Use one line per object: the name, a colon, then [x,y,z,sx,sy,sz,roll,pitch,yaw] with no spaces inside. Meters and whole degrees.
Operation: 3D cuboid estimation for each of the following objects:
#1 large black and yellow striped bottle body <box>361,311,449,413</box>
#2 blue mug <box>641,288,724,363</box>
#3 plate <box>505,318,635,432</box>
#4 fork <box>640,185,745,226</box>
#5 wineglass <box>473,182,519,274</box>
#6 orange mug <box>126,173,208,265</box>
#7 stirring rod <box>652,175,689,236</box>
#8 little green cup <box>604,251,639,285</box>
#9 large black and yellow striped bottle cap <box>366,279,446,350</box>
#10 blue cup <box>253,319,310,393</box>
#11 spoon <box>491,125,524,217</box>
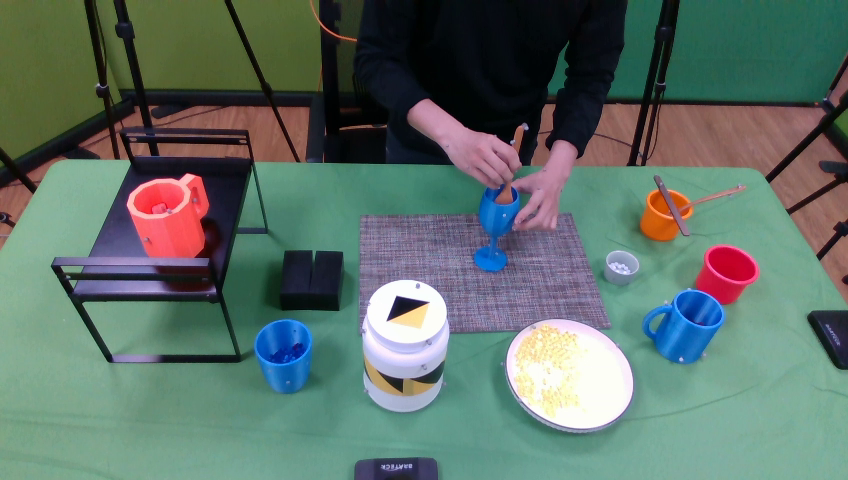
large black and yellow striped bottle body: [-0.031,0.163,0.924,0.131,0.185,0.130,2,46,-2]
blue mug: [0.432,0.144,1.033,0.116,0.106,0.082,8,46,5]
plate: [0.235,0.221,0.991,0.209,0.038,0.208,2,45,-2]
fork: [0.534,-0.069,1.215,0.207,0.019,0.028,-26,27,33]
wineglass: [0.131,-0.022,1.117,0.074,0.173,0.073,2,46,-2]
orange mug: [-0.371,-0.039,0.902,0.083,0.101,0.126,18,52,13]
stirring rod: [0.491,-0.072,1.212,0.014,0.006,0.175,-1,47,-5]
little green cup: [0.375,0.055,1.161,0.061,0.039,0.061,3,46,-2]
large black and yellow striped bottle cap: [-0.025,0.104,0.864,0.115,0.019,0.114,3,48,-3]
blue cup: [-0.217,0.187,0.943,0.093,0.101,0.092,4,45,-3]
spoon: [0.145,-0.112,1.027,0.041,0.194,0.021,13,39,8]
